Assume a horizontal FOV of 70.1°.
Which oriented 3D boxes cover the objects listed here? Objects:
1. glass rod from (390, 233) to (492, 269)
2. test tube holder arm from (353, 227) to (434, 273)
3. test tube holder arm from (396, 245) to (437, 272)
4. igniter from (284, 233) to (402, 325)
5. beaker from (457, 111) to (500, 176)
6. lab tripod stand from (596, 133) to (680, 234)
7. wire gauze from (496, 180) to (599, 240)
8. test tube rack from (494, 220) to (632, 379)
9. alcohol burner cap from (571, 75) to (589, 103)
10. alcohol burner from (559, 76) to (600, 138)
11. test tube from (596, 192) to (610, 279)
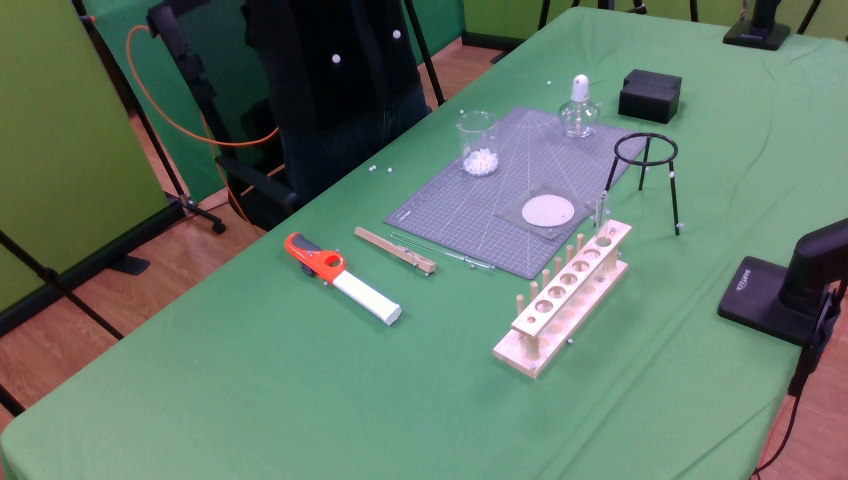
[{"bbox_3d":[0.023,0.017,0.971,0.198,0.008,0.008,18,48,32],"label":"glass rod"},{"bbox_3d":[-0.053,0.014,0.979,0.177,0.015,0.013,25,17,35],"label":"test tube holder arm"},{"bbox_3d":[-0.016,0.029,0.957,0.087,0.015,0.010,25,17,35],"label":"test tube holder arm"},{"bbox_3d":[-0.136,0.054,0.942,0.274,0.025,0.057,29,63,37],"label":"igniter"},{"bbox_3d":[0.104,-0.176,1.108,0.073,0.101,0.084,16,46,27],"label":"beaker"},{"bbox_3d":[0.338,-0.091,0.940,0.148,0.132,0.147,-7,39,6],"label":"lab tripod stand"},{"bbox_3d":[0.206,-0.050,1.012,0.125,0.011,0.120,-34,45,-26],"label":"wire gauze"},{"bbox_3d":[0.191,0.068,0.818,0.066,0.085,0.243,26,51,35],"label":"test tube rack"},{"bbox_3d":[0.294,-0.285,1.132,0.034,0.048,0.033,-5,46,5],"label":"alcohol burner cap"},{"bbox_3d":[0.298,-0.258,1.156,0.078,0.119,0.077,-4,39,4],"label":"alcohol burner"},{"bbox_3d":[0.240,-0.002,0.814,0.017,0.151,0.017,-7,42,7],"label":"test tube"}]
